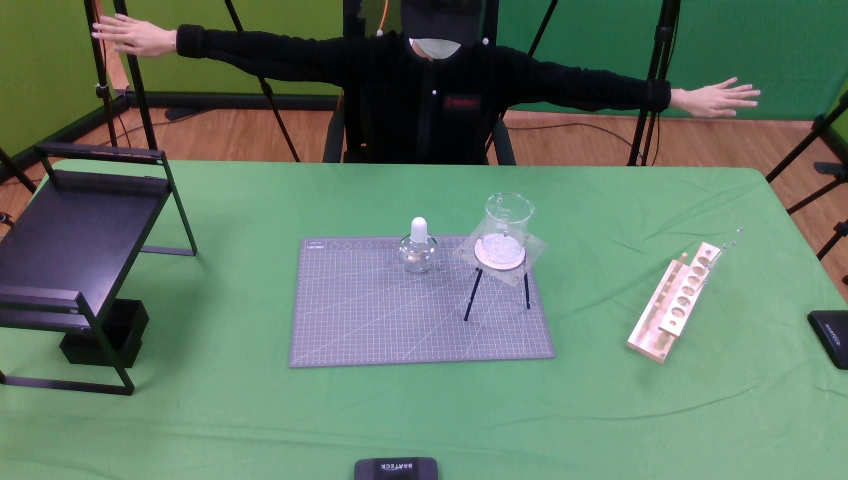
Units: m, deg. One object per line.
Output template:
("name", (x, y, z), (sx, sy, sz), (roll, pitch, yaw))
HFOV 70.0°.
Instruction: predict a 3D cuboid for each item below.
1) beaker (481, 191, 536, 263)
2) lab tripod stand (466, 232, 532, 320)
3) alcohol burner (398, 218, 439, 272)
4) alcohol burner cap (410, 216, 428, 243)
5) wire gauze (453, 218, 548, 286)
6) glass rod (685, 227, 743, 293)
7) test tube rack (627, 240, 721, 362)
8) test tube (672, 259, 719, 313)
("beaker", (0.134, -0.019, 0.982), (0.084, 0.101, 0.073), (-5, 46, -8))
("lab tripod stand", (0.125, 0.059, 1.065), (0.148, 0.132, 0.147), (1, 45, 0))
("alcohol burner", (-0.010, 0.004, 1.123), (0.078, 0.120, 0.077), (1, 47, 0))
("alcohol burner cap", (-0.009, -0.022, 1.099), (0.034, 0.048, 0.033), (2, 41, -1))
("wire gauze", (0.129, 0.014, 1.018), (0.124, 0.011, 0.121), (26, 47, 25))
("glass rod", (0.500, 0.041, 1.053), (0.008, 0.200, 0.008), (4, 53, -5))
("test tube rack", (0.452, 0.098, 1.087), (0.066, 0.085, 0.242), (28, 51, 22))
("test tube", (0.460, 0.082, 1.032), (0.017, 0.151, 0.017), (4, 52, -5))
